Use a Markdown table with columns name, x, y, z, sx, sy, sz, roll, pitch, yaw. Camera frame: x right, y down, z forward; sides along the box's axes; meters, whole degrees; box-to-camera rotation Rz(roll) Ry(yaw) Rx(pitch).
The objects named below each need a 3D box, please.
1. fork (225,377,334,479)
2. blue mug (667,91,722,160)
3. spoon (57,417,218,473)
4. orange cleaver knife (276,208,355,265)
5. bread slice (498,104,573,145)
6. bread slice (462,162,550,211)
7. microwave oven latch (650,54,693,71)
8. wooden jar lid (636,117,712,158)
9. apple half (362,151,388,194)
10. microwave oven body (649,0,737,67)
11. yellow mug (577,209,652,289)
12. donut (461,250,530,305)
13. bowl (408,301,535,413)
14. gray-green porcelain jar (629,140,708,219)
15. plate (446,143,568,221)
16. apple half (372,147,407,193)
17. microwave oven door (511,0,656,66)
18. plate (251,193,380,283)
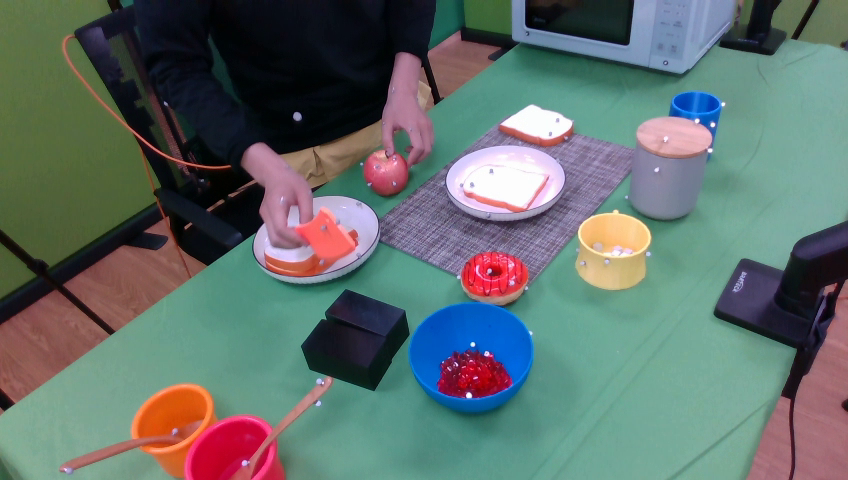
| name | x | y | z | sx | sy | sz | roll | pitch | yaw |
| --- | --- | --- | --- | --- | --- | --- | --- | --- | --- |
| fork | -0.163 | 0.216 | 0.646 | 0.207 | 0.019 | 0.028 | -49 | 42 | 16 |
| blue mug | 0.474 | -0.207 | 1.079 | 0.082 | 0.106 | 0.116 | 4 | 42 | 13 |
| spoon | -0.304 | 0.221 | 0.661 | 0.041 | 0.195 | 0.021 | 19 | 92 | 27 |
| orange cleaver knife | -0.152 | 0.002 | 0.827 | 0.012 | 0.077 | 0.210 | -38 | 15 | -29 |
| bread slice | 0.231 | -0.231 | 1.205 | 0.105 | 0.019 | 0.130 | -36 | 47 | -29 |
| bread slice | 0.135 | -0.094 | 1.045 | 0.133 | 0.018 | 0.107 | 15 | 45 | 23 |
| microwave oven latch | 0.531 | -0.386 | 1.301 | 0.078 | 0.029 | 0.030 | 26 | 51 | 33 |
| wooden jar lid | 0.377 | -0.151 | 0.917 | 0.108 | 0.021 | 0.108 | -2 | 41 | 2 |
| apple half | -0.092 | -0.115 | 1.076 | 0.033 | 0.081 | 0.080 | -18 | 42 | -21 |
| microwave oven body | 0.475 | -0.602 | 1.411 | 0.438 | 0.261 | 0.327 | 23 | 50 | 32 |
| yellow mug | 0.279 | 0.004 | 0.893 | 0.099 | 0.064 | 0.130 | 5 | 41 | 15 |
| donut | 0.103 | 0.053 | 0.872 | 0.099 | 0.048 | 0.098 | -4 | 40 | 4 |
| bowl | 0.060 | 0.156 | 0.739 | 0.151 | 0.077 | 0.150 | -4 | 40 | 4 |
| gray-green porcelain jar | 0.383 | -0.105 | 0.958 | 0.106 | 0.127 | 0.105 | -4 | 41 | 4 |
| plate | 0.142 | -0.097 | 1.045 | 0.207 | 0.039 | 0.206 | -4 | 40 | 4 |
| apple half | -0.058 | -0.128 | 1.090 | 0.053 | 0.075 | 0.080 | -18 | 38 | -21 |
| microwave oven door | 0.351 | -0.539 | 1.349 | 0.353 | 0.245 | 0.039 | 24 | 50 | 31 |
| plate | -0.173 | -0.001 | 0.985 | 0.209 | 0.038 | 0.208 | -4 | 41 | 4 |
